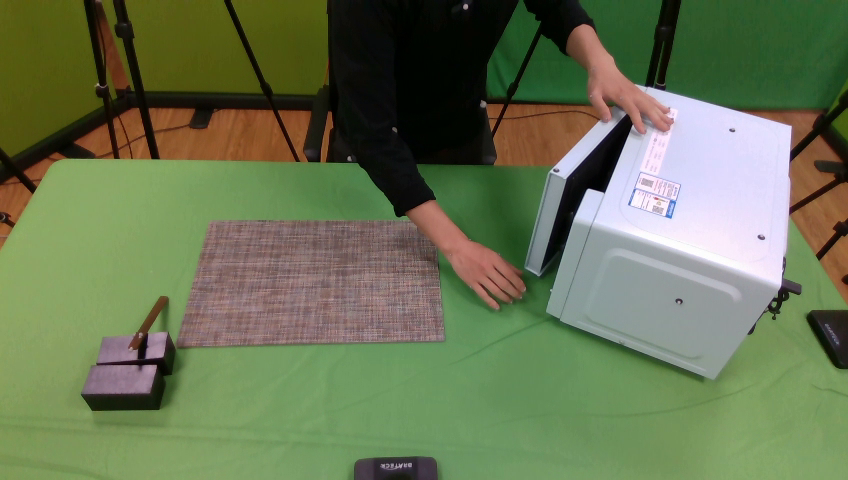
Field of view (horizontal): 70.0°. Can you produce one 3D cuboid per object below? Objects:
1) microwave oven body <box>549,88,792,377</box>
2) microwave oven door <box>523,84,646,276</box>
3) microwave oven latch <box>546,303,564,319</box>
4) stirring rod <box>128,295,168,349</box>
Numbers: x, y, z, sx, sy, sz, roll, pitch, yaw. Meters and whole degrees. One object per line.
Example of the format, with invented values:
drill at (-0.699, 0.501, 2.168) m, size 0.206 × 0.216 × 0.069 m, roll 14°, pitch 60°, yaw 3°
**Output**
microwave oven body at (0.456, -0.028, 1.088) m, size 0.325 × 0.261 × 0.440 m, roll 20°, pitch 47°, yaw 16°
microwave oven door at (0.313, -0.121, 1.160) m, size 0.039 × 0.245 × 0.355 m, roll 30°, pitch 51°, yaw 22°
microwave oven latch at (0.242, 0.102, 1.081) m, size 0.030 × 0.029 × 0.079 m, roll 22°, pitch 48°, yaw 17°
stirring rod at (-0.451, 0.131, 0.996) m, size 0.014 × 0.006 × 0.175 m, roll 9°, pitch 20°, yaw -10°
